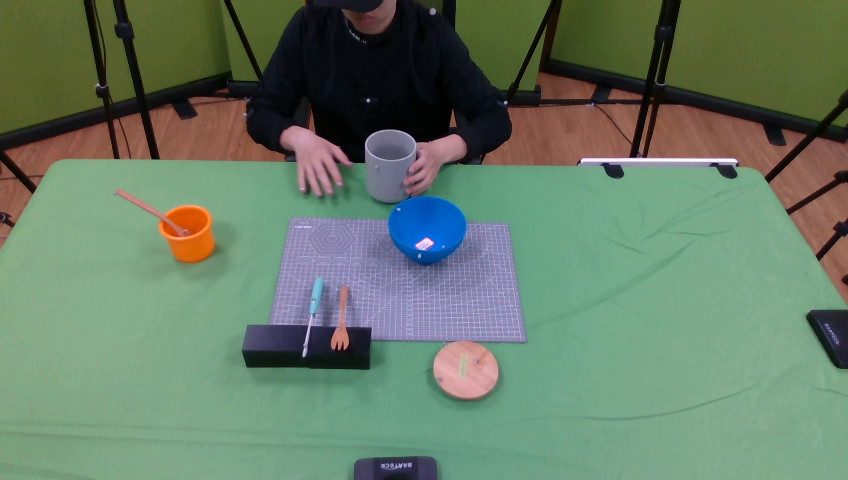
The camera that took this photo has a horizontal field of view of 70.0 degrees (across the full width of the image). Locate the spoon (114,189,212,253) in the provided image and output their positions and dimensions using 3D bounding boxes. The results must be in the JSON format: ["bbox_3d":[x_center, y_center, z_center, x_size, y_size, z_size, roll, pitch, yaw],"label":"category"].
[{"bbox_3d":[-0.475,-0.037,1.109,0.021,0.195,0.041,-29,34,32],"label":"spoon"}]

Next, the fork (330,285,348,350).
[{"bbox_3d":[-0.140,0.127,1.021,0.028,0.019,0.206,-5,28,-2],"label":"fork"}]

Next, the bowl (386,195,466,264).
[{"bbox_3d":[0.003,-0.007,1.162,0.151,0.077,0.150,2,46,-2],"label":"bowl"}]

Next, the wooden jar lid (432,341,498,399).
[{"bbox_3d":[0.067,0.216,0.997,0.108,0.021,0.107,1,46,-1],"label":"wooden jar lid"}]

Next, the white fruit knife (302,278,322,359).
[{"bbox_3d":[-0.189,0.126,1.020,0.016,0.027,0.206,0,33,-2],"label":"white fruit knife"}]

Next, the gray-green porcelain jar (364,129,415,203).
[{"bbox_3d":[-0.073,-0.149,1.264,0.106,0.127,0.105,2,46,-2],"label":"gray-green porcelain jar"}]
